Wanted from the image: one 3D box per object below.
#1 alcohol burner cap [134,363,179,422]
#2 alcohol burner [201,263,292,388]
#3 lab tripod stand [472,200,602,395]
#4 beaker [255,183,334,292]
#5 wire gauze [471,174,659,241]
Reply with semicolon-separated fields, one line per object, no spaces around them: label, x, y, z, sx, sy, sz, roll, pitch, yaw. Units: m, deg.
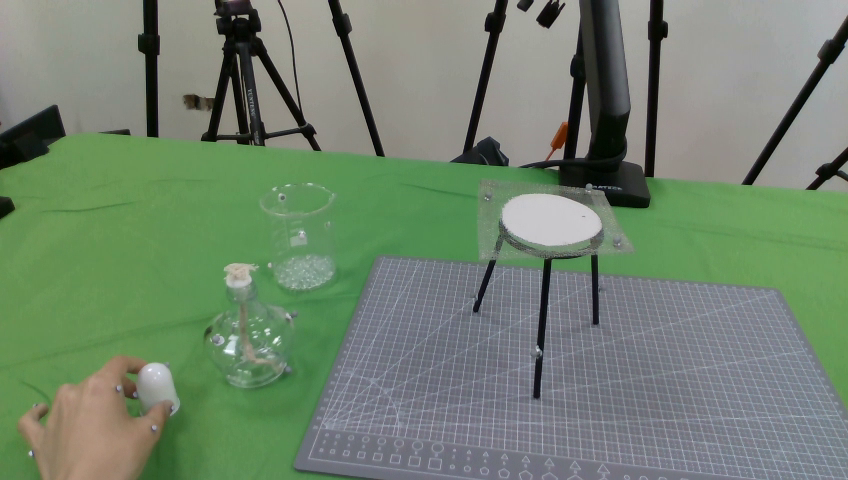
alcohol burner cap;-0.226;0.124;0.505;0.034;0.048;0.033;4;30;-2
alcohol burner;-0.156;0.070;0.528;0.078;0.120;0.077;2;31;-1
lab tripod stand;0.107;0.043;0.550;0.148;0.132;0.147;2;34;-1
beaker;-0.133;-0.002;0.654;0.084;0.101;0.073;-18;37;-27
wire gauze;0.113;-0.029;0.508;0.125;0.011;0.120;-3;28;-18
